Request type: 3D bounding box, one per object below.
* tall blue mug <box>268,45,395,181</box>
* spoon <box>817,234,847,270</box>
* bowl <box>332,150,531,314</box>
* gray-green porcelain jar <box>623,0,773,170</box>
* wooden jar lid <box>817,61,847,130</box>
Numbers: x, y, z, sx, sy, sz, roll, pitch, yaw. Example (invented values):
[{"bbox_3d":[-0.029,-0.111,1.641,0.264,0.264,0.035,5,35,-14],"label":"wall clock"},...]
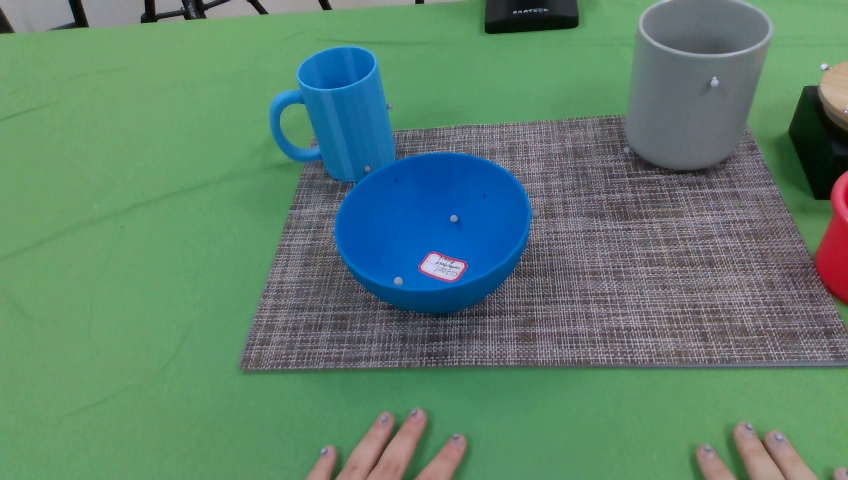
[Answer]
[{"bbox_3d":[-0.086,-0.115,0.589,0.107,0.109,0.077,-35,52,-22],"label":"tall blue mug"},{"bbox_3d":[0.367,-0.011,0.399,0.022,0.193,0.041,48,55,-11],"label":"spoon"},{"bbox_3d":[0.009,0.006,0.482,0.151,0.077,0.150,-4,46,5],"label":"bowl"},{"bbox_3d":[0.237,-0.135,0.544,0.106,0.128,0.105,-5,47,5],"label":"gray-green porcelain jar"},{"bbox_3d":[0.392,-0.118,0.512,0.108,0.021,0.107,-5,46,6],"label":"wooden jar lid"}]
